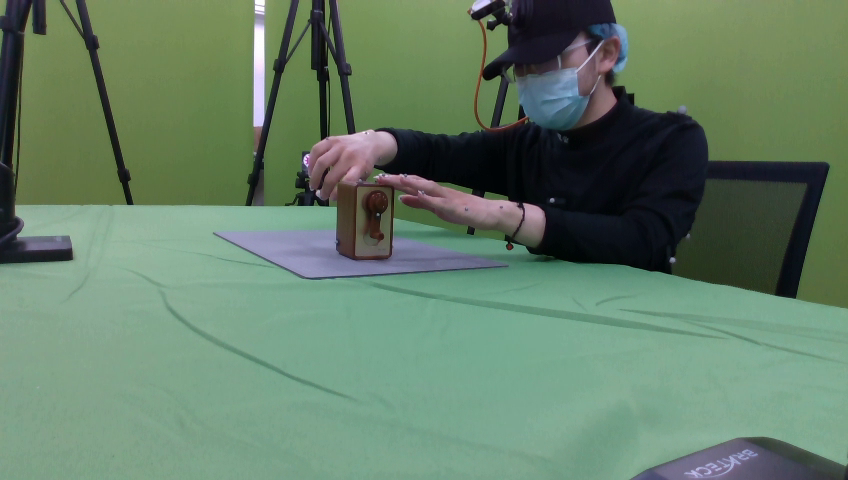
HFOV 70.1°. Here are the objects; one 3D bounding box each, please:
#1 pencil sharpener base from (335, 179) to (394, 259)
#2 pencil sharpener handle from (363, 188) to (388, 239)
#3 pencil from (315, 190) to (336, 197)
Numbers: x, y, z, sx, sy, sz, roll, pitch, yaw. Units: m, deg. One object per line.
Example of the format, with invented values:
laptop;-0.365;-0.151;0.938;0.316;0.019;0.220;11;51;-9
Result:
pencil sharpener base;-0.085;-0.030;0.855;0.061;0.107;0.076;-1;9;-29
pencil sharpener handle;-0.061;-0.035;0.808;0.036;0.067;0.030;3;6;-29
pencil;-0.135;-0.070;0.946;0.012;0.012;0.193;-2;8;-30
